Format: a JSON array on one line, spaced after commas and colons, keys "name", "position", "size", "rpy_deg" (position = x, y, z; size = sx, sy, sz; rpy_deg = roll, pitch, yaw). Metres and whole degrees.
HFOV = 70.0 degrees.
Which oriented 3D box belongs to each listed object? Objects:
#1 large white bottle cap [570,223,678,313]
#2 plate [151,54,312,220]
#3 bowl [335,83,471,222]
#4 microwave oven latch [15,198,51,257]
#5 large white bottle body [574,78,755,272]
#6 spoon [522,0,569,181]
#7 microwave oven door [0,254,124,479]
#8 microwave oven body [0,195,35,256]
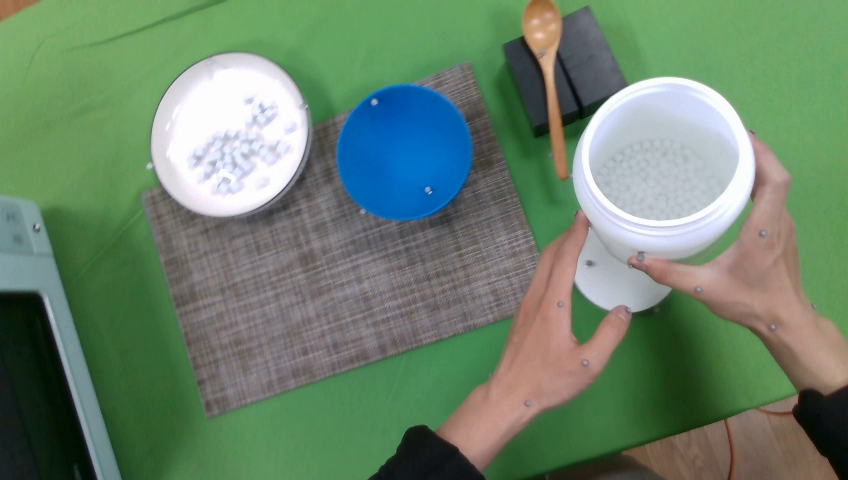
[{"name": "large white bottle cap", "position": [0.221, 0.023, 0.670], "size": [0.114, 0.018, 0.114], "rpy_deg": [-1, 86, 10]}, {"name": "plate", "position": [-0.233, -0.124, 0.748], "size": [0.209, 0.038, 0.208], "rpy_deg": [-1, 83, 11]}, {"name": "bowl", "position": [-0.017, -0.091, 0.685], "size": [0.151, 0.077, 0.151], "rpy_deg": [-1, 86, 10]}, {"name": "microwave oven latch", "position": [-0.507, -0.013, 0.774], "size": [0.030, 0.029, 0.079], "rpy_deg": [-22, 83, 7]}, {"name": "large white bottle body", "position": [0.196, -0.047, 0.506], "size": [0.130, 0.186, 0.130], "rpy_deg": [-3, 80, 19]}, {"name": "spoon", "position": [0.135, -0.160, 0.649], "size": [0.041, 0.021, 0.193], "rpy_deg": [-8, 90, 6]}, {"name": "microwave oven door", "position": [-0.450, 0.182, 0.648], "size": [0.039, 0.244, 0.354], "rpy_deg": [-23, 82, 8]}, {"name": "microwave oven body", "position": [-0.598, 0.198, 0.678], "size": [0.326, 0.261, 0.440], "rpy_deg": [-22, 83, 7]}]
